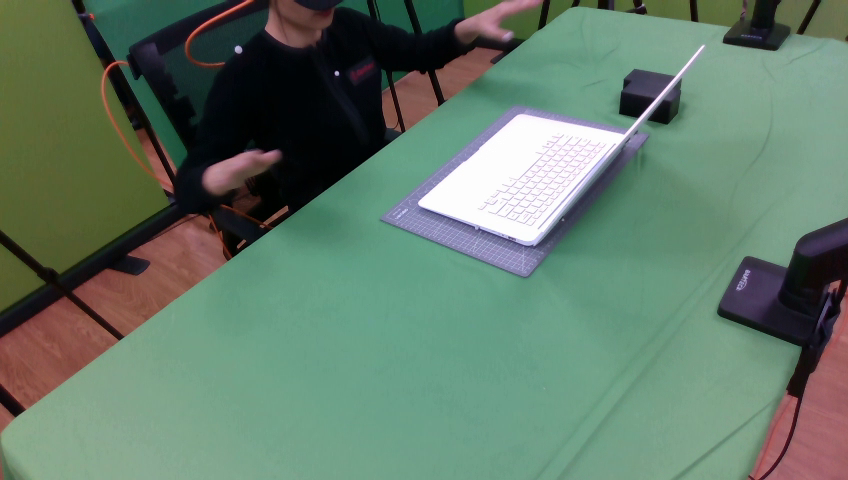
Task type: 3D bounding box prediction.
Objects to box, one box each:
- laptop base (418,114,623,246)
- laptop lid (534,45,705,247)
[{"bbox_3d":[0.183,-0.123,1.094,0.233,0.023,0.355,19,47,34],"label":"laptop base"},{"bbox_3d":[0.305,-0.146,0.938,0.013,0.241,0.357,40,54,9],"label":"laptop lid"}]
